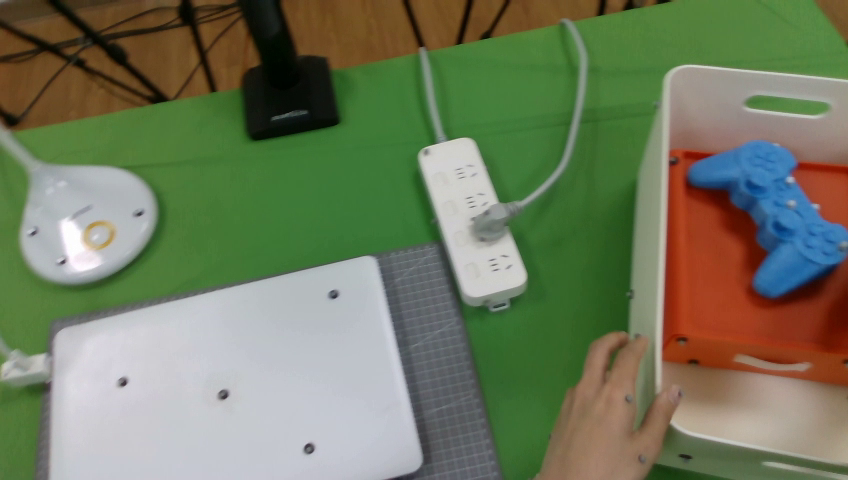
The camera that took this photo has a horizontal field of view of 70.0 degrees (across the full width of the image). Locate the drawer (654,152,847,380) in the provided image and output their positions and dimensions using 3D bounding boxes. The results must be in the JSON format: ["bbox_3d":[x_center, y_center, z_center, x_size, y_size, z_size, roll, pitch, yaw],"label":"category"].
[{"bbox_3d":[0.337,0.023,0.604,0.194,0.074,0.210,7,63,8],"label":"drawer"}]

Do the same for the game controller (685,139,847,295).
[{"bbox_3d":[0.329,-0.030,0.578,0.097,0.052,0.153,-13,62,-8],"label":"game controller"}]

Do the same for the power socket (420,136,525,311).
[{"bbox_3d":[0.051,-0.027,0.691,0.072,0.033,0.224,-13,61,-5],"label":"power socket"}]

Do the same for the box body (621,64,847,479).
[{"bbox_3d":[0.328,0.035,0.562,0.253,0.162,0.361,9,62,9],"label":"box body"}]

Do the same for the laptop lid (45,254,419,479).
[{"bbox_3d":[-0.200,0.154,0.604,0.357,0.013,0.239,-12,64,-2],"label":"laptop lid"}]

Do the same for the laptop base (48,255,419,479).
[{"bbox_3d":[-0.199,0.157,0.616,0.354,0.023,0.233,-14,65,-3],"label":"laptop base"}]

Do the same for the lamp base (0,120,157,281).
[{"bbox_3d":[-0.416,-0.067,0.662,0.178,0.182,0.160,33,68,23],"label":"lamp base"}]

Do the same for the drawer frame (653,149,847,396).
[{"bbox_3d":[0.328,0.026,0.606,0.201,0.083,0.212,9,58,6],"label":"drawer frame"}]

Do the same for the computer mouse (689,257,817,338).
[{"bbox_3d":[0.326,0.054,0.600,0.117,0.041,0.062,13,70,15],"label":"computer mouse"}]

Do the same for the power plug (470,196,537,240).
[{"bbox_3d":[0.086,-0.018,0.657,0.072,0.053,0.035,-4,60,0],"label":"power plug"}]

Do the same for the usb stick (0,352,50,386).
[{"bbox_3d":[-0.405,0.133,0.629,0.059,0.027,0.021,-10,57,-4],"label":"usb stick"}]
